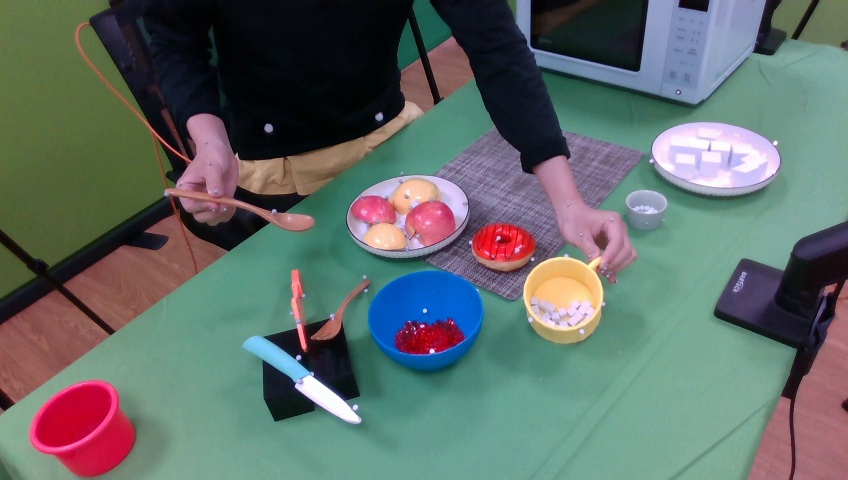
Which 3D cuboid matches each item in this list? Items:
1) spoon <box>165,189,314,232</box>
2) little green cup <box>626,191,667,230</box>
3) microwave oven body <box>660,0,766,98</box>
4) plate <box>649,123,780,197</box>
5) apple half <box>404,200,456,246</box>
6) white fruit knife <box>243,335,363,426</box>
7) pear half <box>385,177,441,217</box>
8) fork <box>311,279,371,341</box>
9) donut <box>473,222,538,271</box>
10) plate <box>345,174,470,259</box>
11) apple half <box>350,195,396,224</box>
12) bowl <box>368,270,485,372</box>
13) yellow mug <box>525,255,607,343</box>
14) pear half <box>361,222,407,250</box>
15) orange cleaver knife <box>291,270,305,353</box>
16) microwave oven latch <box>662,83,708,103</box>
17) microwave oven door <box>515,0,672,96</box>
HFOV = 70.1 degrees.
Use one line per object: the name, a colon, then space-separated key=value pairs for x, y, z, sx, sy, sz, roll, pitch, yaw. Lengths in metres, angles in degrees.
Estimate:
spoon: x=-0.245 y=-0.043 z=0.815 sx=0.195 sy=0.021 sz=0.041 roll=17 pitch=32 yaw=-24
little green cup: x=0.352 y=-0.046 z=0.963 sx=0.061 sy=0.039 sz=0.061 roll=-4 pitch=40 yaw=4
microwave oven body: x=0.472 y=-0.513 z=1.317 sx=0.438 sy=0.261 sz=0.327 roll=26 pitch=51 yaw=34
plate: x=0.497 y=-0.134 z=1.046 sx=0.207 sy=0.039 sz=0.206 roll=-4 pitch=40 yaw=4
apple half: x=0.009 y=-0.035 z=0.969 sx=0.075 sy=0.053 sz=0.080 roll=-27 pitch=40 yaw=-22
white fruit knife: x=-0.148 y=0.167 z=0.730 sx=0.206 sy=0.016 sz=0.027 roll=26 pitch=79 yaw=31
pear half: x=-0.030 y=-0.079 z=1.033 sx=0.109 sy=0.056 sz=0.076 roll=0 pitch=36 yaw=15
fork: x=-0.108 y=0.092 z=0.832 sx=0.028 sy=0.019 sz=0.207 roll=-7 pitch=19 yaw=15
donut: x=0.124 y=0.009 z=0.923 sx=0.099 sy=0.048 sz=0.098 roll=-4 pitch=38 yaw=3
plate: x=-0.026 y=-0.037 z=1.004 sx=0.209 sy=0.038 sz=0.208 roll=-4 pitch=40 yaw=4
apple half: x=-0.080 y=-0.056 z=1.008 sx=0.081 sy=0.033 sz=0.081 roll=10 pitch=24 yaw=-4
bowl: x=0.007 y=0.118 z=0.791 sx=0.151 sy=0.077 sz=0.150 roll=-5 pitch=40 yaw=4
yellow mug: x=0.194 y=0.068 z=0.794 sx=0.131 sy=0.064 sz=0.099 roll=-45 pitch=66 yaw=-9
pear half: x=-0.063 y=-0.012 z=0.959 sx=0.071 sy=0.031 sz=0.087 roll=2 pitch=25 yaw=-25
orange cleaver knife: x=-0.175 y=0.094 z=0.844 sx=0.012 sy=0.077 sz=0.210 roll=-11 pitch=14 yaw=-10
microwave oven latch: x=0.518 y=-0.296 z=1.204 sx=0.078 sy=0.029 sz=0.030 roll=28 pitch=52 yaw=35
microwave oven door: x=0.343 y=-0.455 z=1.259 sx=0.353 sy=0.245 sz=0.039 roll=26 pitch=51 yaw=33
